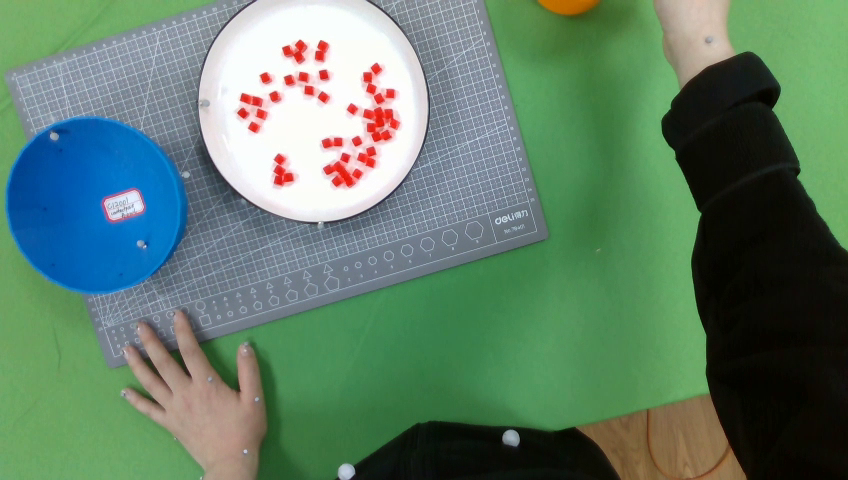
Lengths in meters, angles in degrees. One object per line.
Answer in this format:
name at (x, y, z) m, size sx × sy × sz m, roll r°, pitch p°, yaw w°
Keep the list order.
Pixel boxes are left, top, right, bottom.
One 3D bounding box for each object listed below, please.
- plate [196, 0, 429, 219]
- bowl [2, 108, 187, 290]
plate at (-0.098, -0.125, 0.552) m, size 0.209 × 0.038 × 0.209 m, roll 0°, pitch 96°, yaw 1°
bowl at (-0.277, -0.036, 0.544) m, size 0.151 × 0.076 × 0.151 m, roll 0°, pitch 96°, yaw 1°
